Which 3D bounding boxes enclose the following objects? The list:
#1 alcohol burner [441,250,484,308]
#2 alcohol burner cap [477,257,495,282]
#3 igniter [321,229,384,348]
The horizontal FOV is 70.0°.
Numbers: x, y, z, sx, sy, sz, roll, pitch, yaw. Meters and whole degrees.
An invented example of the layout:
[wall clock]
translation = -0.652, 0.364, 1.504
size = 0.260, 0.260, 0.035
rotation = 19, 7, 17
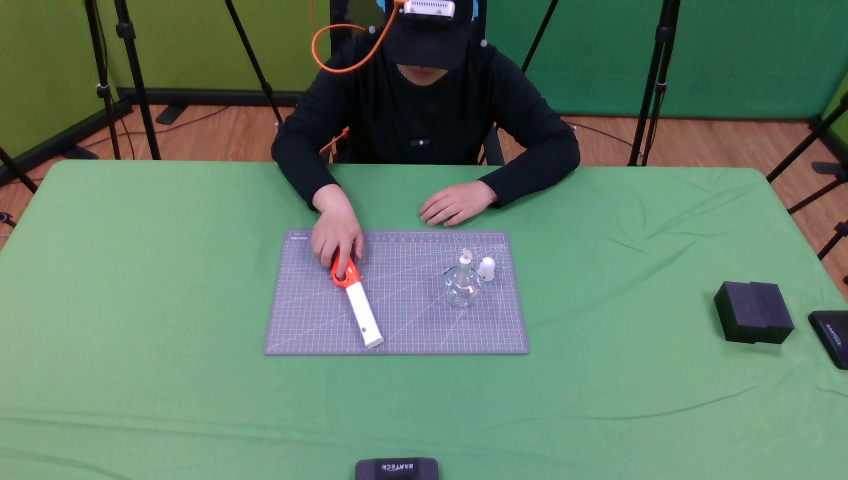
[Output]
[alcohol burner]
translation = 0.069, 0.064, 1.075
size = 0.078, 0.120, 0.077
rotation = 1, 45, -1
[alcohol burner cap]
translation = 0.118, 0.053, 1.140
size = 0.034, 0.048, 0.033
rotation = 2, 46, -2
[igniter]
translation = -0.134, 0.078, 1.102
size = 0.057, 0.025, 0.274
rotation = -29, 53, 1
